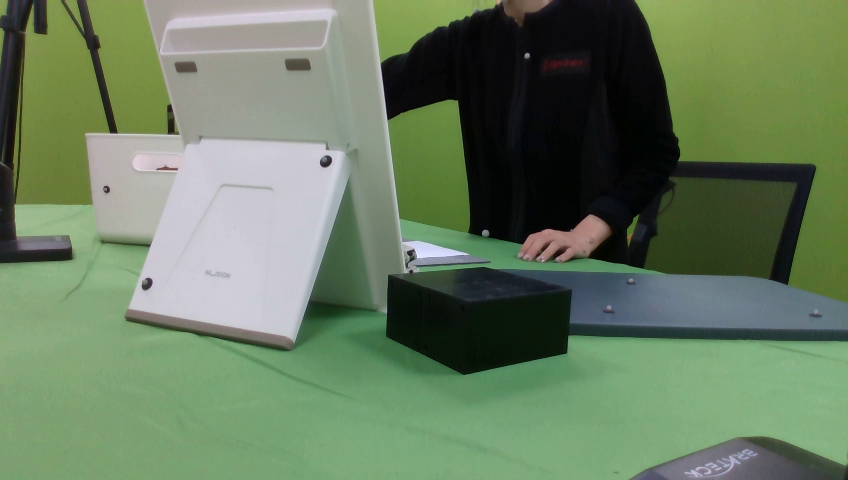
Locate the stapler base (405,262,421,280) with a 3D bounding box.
[{"bbox_3d":[-0.069,0.027,0.759,0.130,0.024,0.041,9,13,23],"label":"stapler base"}]

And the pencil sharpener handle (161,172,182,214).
[{"bbox_3d":[-0.410,-0.075,0.973,0.036,0.067,0.031,-13,5,11],"label":"pencil sharpener handle"}]

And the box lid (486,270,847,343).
[{"bbox_3d":[0.266,0.066,0.643,0.372,0.015,0.263,2,7,-5],"label":"box lid"}]

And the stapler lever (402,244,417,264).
[{"bbox_3d":[-0.066,0.003,0.755,0.117,0.040,0.027,9,13,23],"label":"stapler lever"}]

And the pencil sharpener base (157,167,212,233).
[{"bbox_3d":[-0.406,-0.069,1.025,0.061,0.107,0.077,2,8,9],"label":"pencil sharpener base"}]

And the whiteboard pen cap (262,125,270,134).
[{"bbox_3d":[-0.349,-0.244,1.337,0.018,0.018,0.033,0,2,-17],"label":"whiteboard pen cap"}]

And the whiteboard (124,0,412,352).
[{"bbox_3d":[-0.151,-0.049,0.472,0.216,0.305,0.144,6,27,24],"label":"whiteboard"}]

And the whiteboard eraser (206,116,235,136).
[{"bbox_3d":[-0.450,-0.252,1.335,0.056,0.042,0.112,1,7,-22],"label":"whiteboard eraser"}]

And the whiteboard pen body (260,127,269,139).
[{"bbox_3d":[-0.366,-0.247,1.392,0.017,0.017,0.140,0,3,-17],"label":"whiteboard pen body"}]

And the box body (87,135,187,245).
[{"bbox_3d":[-0.338,-0.088,1.022,0.254,0.160,0.364,3,7,9],"label":"box body"}]

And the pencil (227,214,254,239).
[{"bbox_3d":[-0.331,-0.025,1.093,0.012,0.012,0.193,2,13,-4],"label":"pencil"}]
